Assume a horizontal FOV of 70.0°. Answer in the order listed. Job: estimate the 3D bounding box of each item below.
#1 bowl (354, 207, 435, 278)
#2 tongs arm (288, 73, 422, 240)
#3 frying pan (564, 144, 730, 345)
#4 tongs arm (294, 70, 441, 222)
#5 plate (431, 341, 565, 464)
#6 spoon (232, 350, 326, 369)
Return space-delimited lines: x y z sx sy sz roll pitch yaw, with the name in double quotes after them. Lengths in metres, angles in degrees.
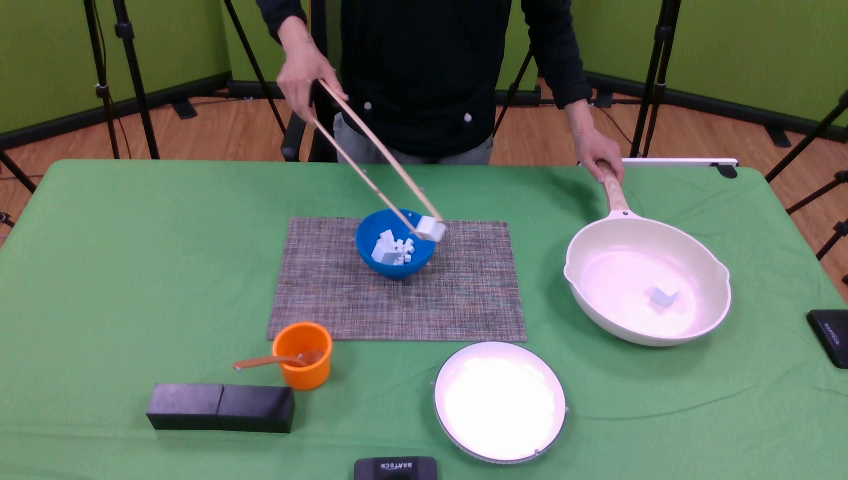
-0.055 0.018 1.132 0.151 0.077 0.150 2 46 -2 "bowl"
-0.121 -0.151 1.066 0.051 0.026 0.383 -46 76 9 "tongs arm"
0.396 -0.008 1.179 0.307 0.103 0.484 0 55 -5 "frying pan"
-0.100 -0.170 1.062 0.028 0.028 0.386 -44 76 13 "tongs arm"
0.114 0.255 0.951 0.208 0.039 0.206 3 46 -2 "plate"
-0.216 0.182 0.919 0.041 0.194 0.021 42 101 28 "spoon"
